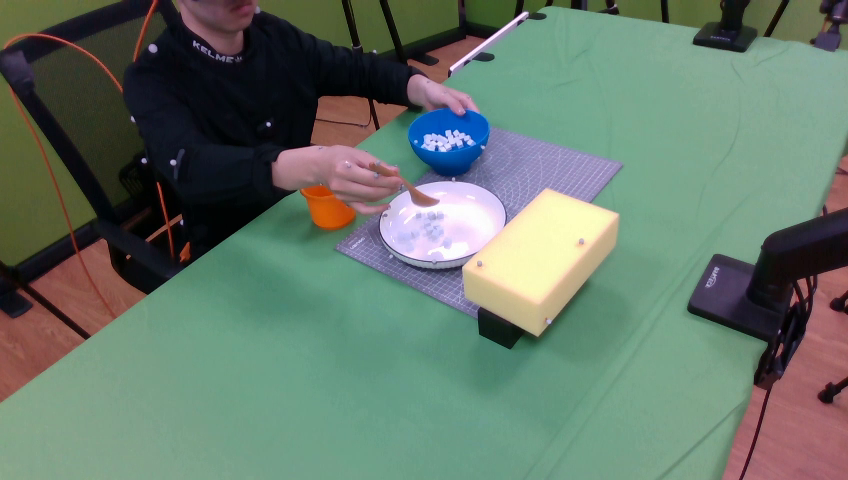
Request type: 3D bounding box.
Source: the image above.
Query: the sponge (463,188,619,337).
[{"bbox_3d":[0.160,0.022,0.814,0.117,0.061,0.207,24,50,32],"label":"sponge"}]

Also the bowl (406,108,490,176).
[{"bbox_3d":[0.047,-0.171,1.109,0.151,0.077,0.150,-4,41,4],"label":"bowl"}]

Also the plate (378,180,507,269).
[{"bbox_3d":[0.031,-0.022,0.974,0.209,0.038,0.208,-4,40,4],"label":"plate"}]

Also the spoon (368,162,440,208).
[{"bbox_3d":[-0.030,-0.077,0.859,0.041,0.195,0.021,-5,72,26],"label":"spoon"}]
